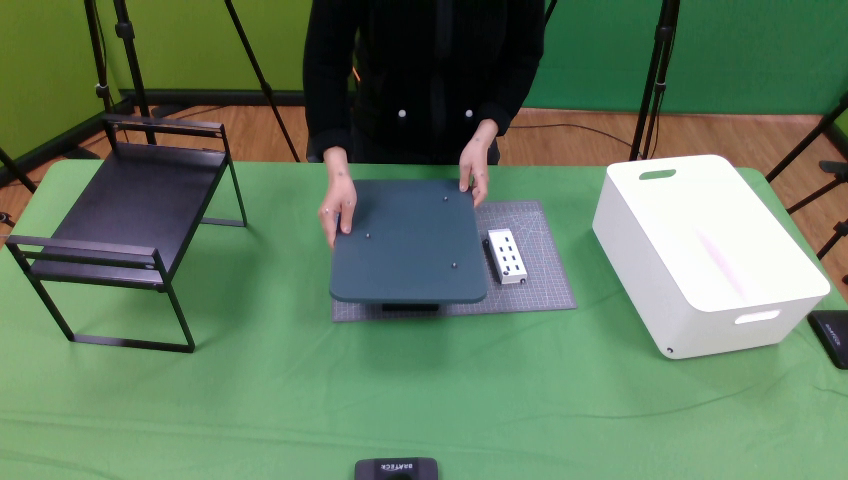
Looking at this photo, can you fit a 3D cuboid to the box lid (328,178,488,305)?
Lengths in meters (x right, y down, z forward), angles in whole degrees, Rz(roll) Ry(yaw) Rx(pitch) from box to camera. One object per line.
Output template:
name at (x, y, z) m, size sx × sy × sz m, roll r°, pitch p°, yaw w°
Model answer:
box lid at (-0.030, -0.013, 1.109) m, size 0.263 × 0.015 × 0.369 m, roll 0°, pitch 38°, yaw -3°

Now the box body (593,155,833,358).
box body at (0.497, 0.023, 1.112) m, size 0.254 × 0.161 × 0.361 m, roll -7°, pitch 47°, yaw -10°

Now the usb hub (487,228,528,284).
usb hub at (0.159, 0.029, 1.173) m, size 0.049 × 0.025 × 0.124 m, roll -6°, pitch 46°, yaw -9°
